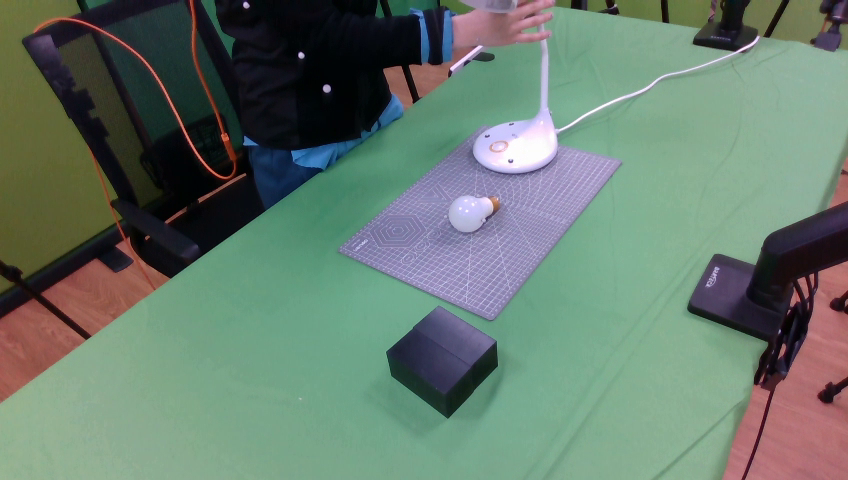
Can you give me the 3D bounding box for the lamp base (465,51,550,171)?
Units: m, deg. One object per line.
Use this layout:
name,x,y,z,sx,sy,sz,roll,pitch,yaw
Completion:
lamp base,0.159,-0.243,1.103,0.180,0.181,0.159,-31,46,-29
